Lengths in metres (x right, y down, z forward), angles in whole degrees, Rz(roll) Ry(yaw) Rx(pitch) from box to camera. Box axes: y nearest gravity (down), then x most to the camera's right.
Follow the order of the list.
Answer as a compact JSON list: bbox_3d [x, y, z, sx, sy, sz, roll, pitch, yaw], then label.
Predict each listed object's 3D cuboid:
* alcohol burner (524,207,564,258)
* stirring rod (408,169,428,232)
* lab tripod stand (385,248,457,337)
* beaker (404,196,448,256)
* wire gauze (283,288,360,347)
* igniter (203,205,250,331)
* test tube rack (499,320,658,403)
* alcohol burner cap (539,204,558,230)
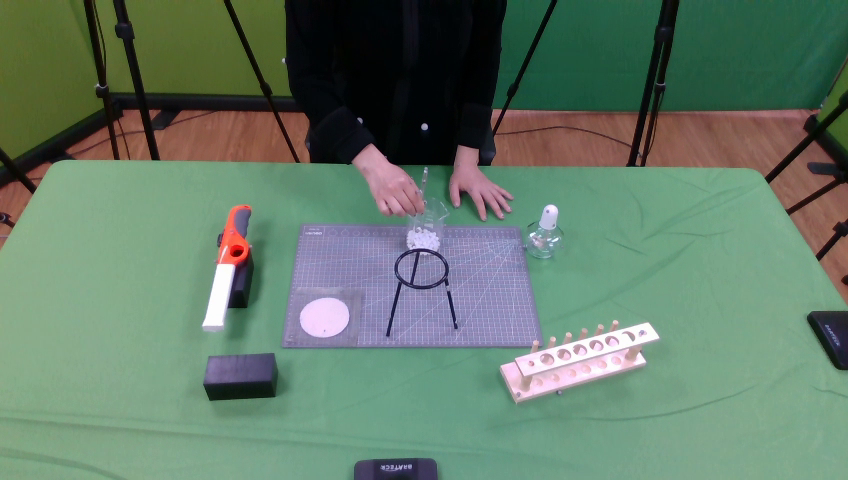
[{"bbox_3d":[0.236,-0.021,1.174,0.078,0.120,0.077,1,48,-1],"label":"alcohol burner"},{"bbox_3d":[-0.011,-0.069,1.116,0.014,0.177,0.006,-12,57,-19],"label":"stirring rod"},{"bbox_3d":[-0.010,0.087,1.032,0.148,0.132,0.147,1,45,-1],"label":"lab tripod stand"},{"bbox_3d":[0.001,-0.024,1.164,0.084,0.101,0.073,6,46,0],"label":"beaker"},{"bbox_3d":[-0.178,0.132,1.063,0.125,0.011,0.120,2,46,1],"label":"wire gauze"},{"bbox_3d":[-0.345,0.039,1.065,0.057,0.025,0.274,2,49,-6],"label":"igniter"},{"bbox_3d":[0.252,0.187,0.994,0.243,0.085,0.066,-12,48,-15],"label":"test tube rack"},{"bbox_3d":[0.238,-0.045,1.148,0.034,0.048,0.033,2,42,-1],"label":"alcohol burner cap"}]
